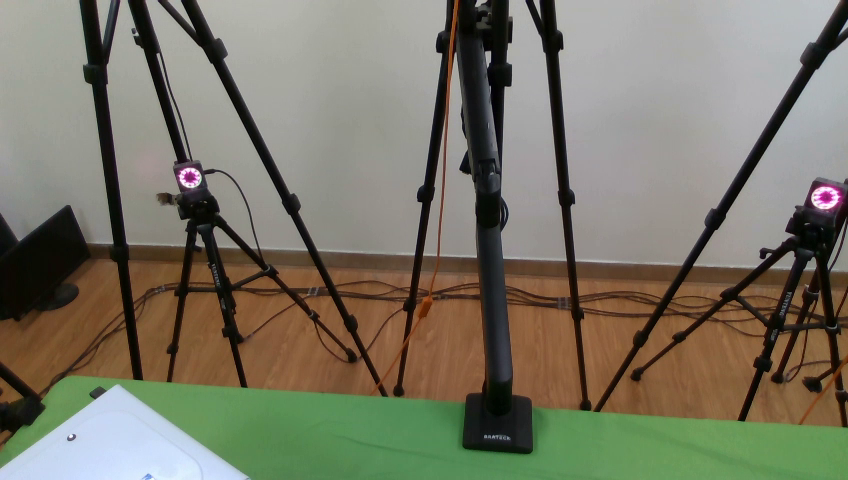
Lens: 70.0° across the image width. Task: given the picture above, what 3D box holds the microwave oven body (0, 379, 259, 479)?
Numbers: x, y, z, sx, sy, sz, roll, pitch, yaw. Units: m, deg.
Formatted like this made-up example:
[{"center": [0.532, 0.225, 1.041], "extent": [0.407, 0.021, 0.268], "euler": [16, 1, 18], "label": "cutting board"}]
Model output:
[{"center": [-0.435, 0.442, 0.719], "extent": [0.323, 0.262, 0.441], "euler": [21, 43, 28], "label": "microwave oven body"}]
